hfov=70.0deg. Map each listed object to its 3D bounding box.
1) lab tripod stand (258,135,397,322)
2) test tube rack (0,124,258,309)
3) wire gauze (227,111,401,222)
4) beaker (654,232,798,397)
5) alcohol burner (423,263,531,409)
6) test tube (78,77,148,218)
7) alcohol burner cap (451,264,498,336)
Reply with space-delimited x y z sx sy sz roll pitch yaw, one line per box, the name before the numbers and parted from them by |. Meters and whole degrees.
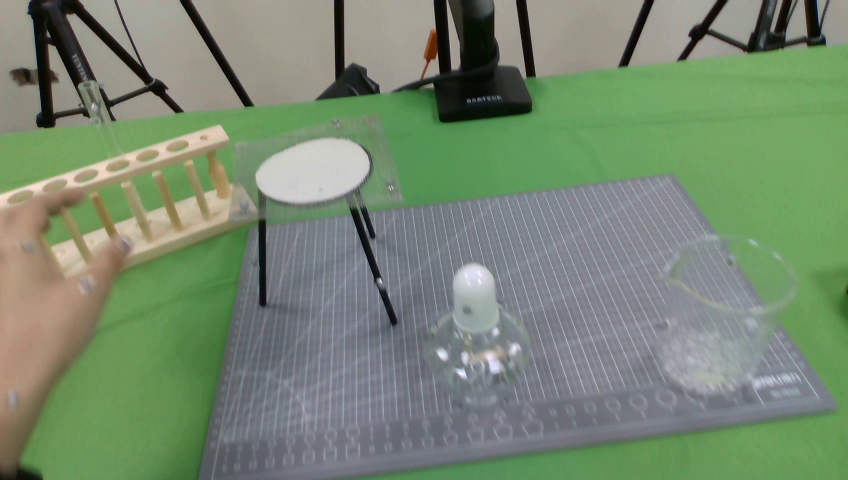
lab tripod stand | -0.082 -0.008 0.509 0.148 0.133 0.147 -4 43 4
test tube rack | -0.299 -0.028 0.599 0.243 0.086 0.066 -23 44 -19
wire gauze | -0.088 -0.058 0.464 0.125 0.011 0.120 -11 41 -5
beaker | 0.203 0.056 0.427 0.084 0.101 0.073 0 41 9
alcohol burner | 0.037 0.064 0.428 0.078 0.120 0.077 -3 39 3
test tube | -0.298 -0.083 0.586 0.017 0.151 0.017 -2 38 2
alcohol burner cap | 0.033 0.037 0.404 0.034 0.048 0.033 -4 43 4
